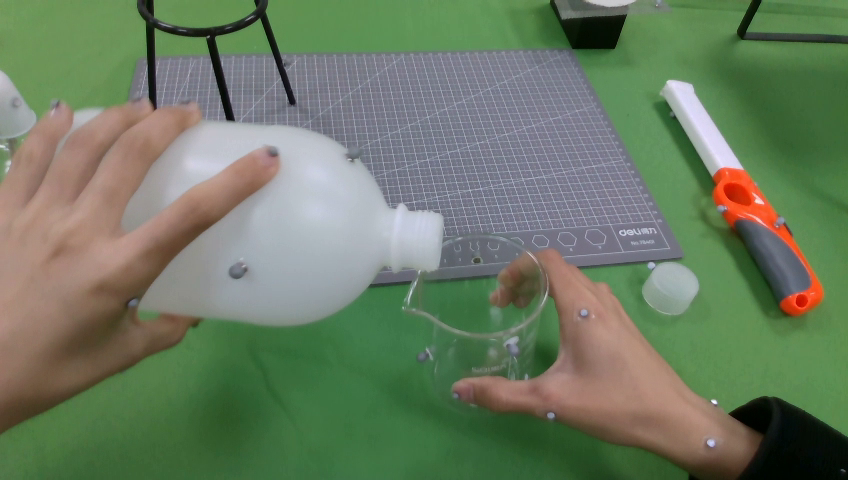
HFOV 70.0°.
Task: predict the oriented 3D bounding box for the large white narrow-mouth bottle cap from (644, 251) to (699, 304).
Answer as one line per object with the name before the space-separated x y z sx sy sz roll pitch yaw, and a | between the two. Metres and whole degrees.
large white narrow-mouth bottle cap | 0.189 0.029 0.463 0.038 0.024 0.037 3 50 -3

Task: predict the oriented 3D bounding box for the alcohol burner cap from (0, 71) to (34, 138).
alcohol burner cap | -0.288 -0.094 0.403 0.034 0.048 0.033 2 57 -3

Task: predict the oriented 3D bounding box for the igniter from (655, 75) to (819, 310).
igniter | 0.269 -0.055 0.536 0.057 0.025 0.273 4 50 -17

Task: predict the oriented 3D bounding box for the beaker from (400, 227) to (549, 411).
beaker | 0.029 0.054 0.370 0.084 0.101 0.073 -15 49 -10

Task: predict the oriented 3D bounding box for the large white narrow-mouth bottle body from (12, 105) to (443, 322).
large white narrow-mouth bottle body | -0.087 -0.010 0.307 0.194 0.103 0.101 6 50 5

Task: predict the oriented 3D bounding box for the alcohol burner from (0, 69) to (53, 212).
alcohol burner | -0.291 -0.072 0.432 0.078 0.120 0.077 4 48 -4

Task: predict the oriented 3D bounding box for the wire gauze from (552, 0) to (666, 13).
wire gauze | 0.188 -0.285 0.665 0.122 0.011 0.123 -3 51 -10

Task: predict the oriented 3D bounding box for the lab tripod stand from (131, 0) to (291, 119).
lab tripod stand | -0.163 -0.132 0.478 0.148 0.132 0.147 4 51 -5
